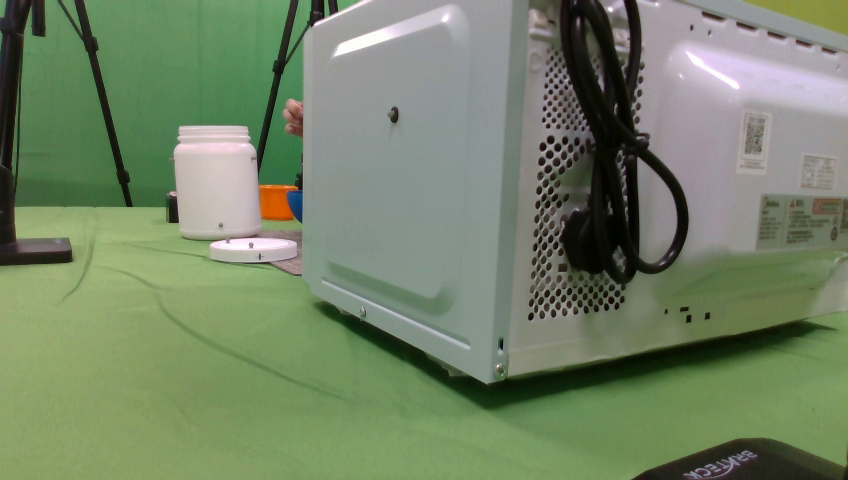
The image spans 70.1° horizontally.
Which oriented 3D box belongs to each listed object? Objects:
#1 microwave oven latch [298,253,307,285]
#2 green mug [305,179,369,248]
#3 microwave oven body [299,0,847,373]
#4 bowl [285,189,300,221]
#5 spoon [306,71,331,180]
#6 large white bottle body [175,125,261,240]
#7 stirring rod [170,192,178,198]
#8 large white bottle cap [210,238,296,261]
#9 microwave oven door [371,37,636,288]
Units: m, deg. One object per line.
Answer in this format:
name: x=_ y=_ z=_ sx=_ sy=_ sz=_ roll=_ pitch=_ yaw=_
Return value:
microwave oven latch: x=-0.081 y=0.027 z=0.582 sx=0.079 sy=0.029 sz=0.030 roll=-2 pitch=7 yaw=-32
green mug: x=-0.133 y=-0.044 z=0.976 sx=0.092 sy=0.105 sz=0.126 roll=6 pitch=8 yaw=32
microwave oven body: x=0.152 y=-0.055 z=0.542 sx=0.444 sy=0.260 sz=0.324 roll=-2 pitch=7 yaw=-33
bowl: x=-0.180 y=-0.050 z=1.113 sx=0.151 sy=0.077 sz=0.151 roll=3 pitch=8 yaw=0
spoon: x=-0.171 y=-0.186 z=0.974 sx=0.021 sy=0.193 sz=0.042 roll=-10 pitch=-15 yaw=5
large white bottle body: x=-0.349 y=-0.099 z=1.025 sx=0.131 sy=0.184 sz=0.130 roll=-1 pitch=9 yaw=0
stirring rod: x=-0.465 y=-0.098 z=1.283 sx=0.014 sy=0.006 sz=0.177 roll=42 pitch=21 yaw=17
large white bottle cap: x=-0.236 y=0.012 z=0.839 sx=0.115 sy=0.018 sz=0.115 roll=1 pitch=8 yaw=0
microwave oven door: x=0.109 y=-0.080 z=0.686 sx=0.358 sy=0.243 sz=0.039 roll=-2 pitch=9 yaw=-33
